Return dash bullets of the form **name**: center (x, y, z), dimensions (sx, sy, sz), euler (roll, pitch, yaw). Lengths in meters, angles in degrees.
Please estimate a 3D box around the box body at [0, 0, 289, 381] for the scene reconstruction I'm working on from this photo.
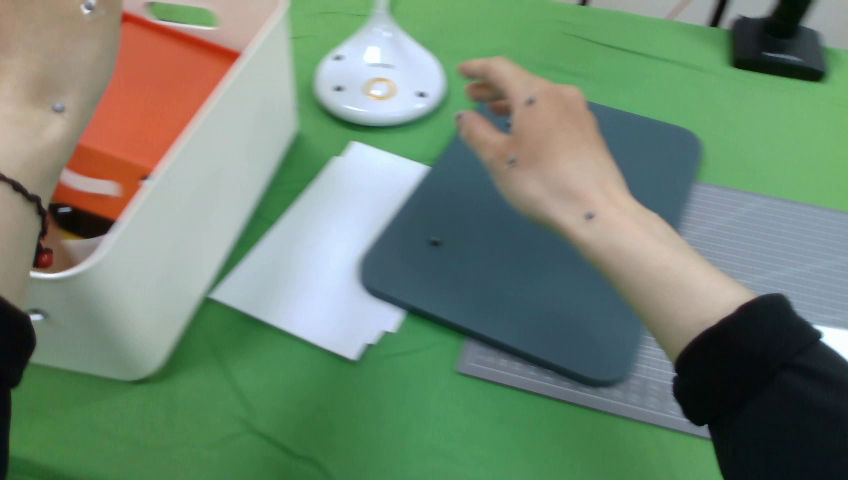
- **box body**: center (-0.297, -0.075, 0.545), dimensions (0.254, 0.162, 0.361), euler (9, 50, 6)

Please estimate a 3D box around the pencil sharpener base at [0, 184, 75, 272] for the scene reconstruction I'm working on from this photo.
- **pencil sharpener base**: center (-0.356, 0.009, 0.499), dimensions (0.077, 0.108, 0.061), euler (3, 50, 2)

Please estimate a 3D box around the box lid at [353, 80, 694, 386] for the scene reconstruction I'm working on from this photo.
- **box lid**: center (0.119, -0.039, 0.628), dimensions (0.262, 0.015, 0.369), euler (20, 51, 16)

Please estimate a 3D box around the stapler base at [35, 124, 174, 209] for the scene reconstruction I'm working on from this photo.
- **stapler base**: center (-0.291, -0.073, 0.554), dimensions (0.130, 0.024, 0.041), euler (28, 40, 9)

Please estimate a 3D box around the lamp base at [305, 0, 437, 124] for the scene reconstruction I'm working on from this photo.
- **lamp base**: center (-0.066, -0.256, 0.695), dimensions (0.161, 0.182, 0.177), euler (-6, 47, -7)

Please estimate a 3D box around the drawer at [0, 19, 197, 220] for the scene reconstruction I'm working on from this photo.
- **drawer**: center (-0.270, -0.113, 0.575), dimensions (0.195, 0.074, 0.210), euler (18, 41, -4)

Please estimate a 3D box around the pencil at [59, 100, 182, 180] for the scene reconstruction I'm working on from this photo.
- **pencil**: center (-0.292, -0.096, 0.577), dimensions (0.192, 0.012, 0.012), euler (29, 55, 24)

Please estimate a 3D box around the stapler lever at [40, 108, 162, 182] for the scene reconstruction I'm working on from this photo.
- **stapler lever**: center (-0.286, -0.091, 0.538), dimensions (0.118, 0.040, 0.026), euler (29, 40, 8)

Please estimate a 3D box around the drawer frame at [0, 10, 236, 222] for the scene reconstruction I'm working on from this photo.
- **drawer frame**: center (-0.271, -0.116, 0.576), dimensions (0.202, 0.083, 0.212), euler (18, 41, -4)
